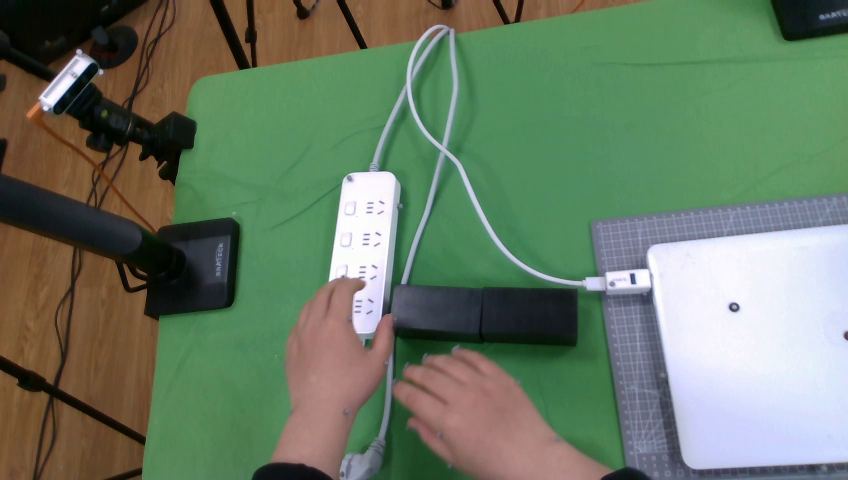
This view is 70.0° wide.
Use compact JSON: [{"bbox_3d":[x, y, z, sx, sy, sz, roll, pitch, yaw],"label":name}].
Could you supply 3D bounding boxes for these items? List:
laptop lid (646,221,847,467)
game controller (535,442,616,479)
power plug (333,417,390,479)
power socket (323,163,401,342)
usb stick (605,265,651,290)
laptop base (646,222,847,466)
[{"bbox_3d":[0.418,0.093,0.595,0.356,0.013,0.240,-4,71,10],"label":"laptop lid"},{"bbox_3d":[0.118,0.270,0.586,0.155,0.052,0.096,-41,64,-7],"label":"game controller"},{"bbox_3d":[-0.066,0.229,0.655,0.052,0.035,0.072,-12,20,34],"label":"power plug"},{"bbox_3d":[-0.073,0.008,0.733,0.072,0.033,0.225,1,69,11],"label":"power socket"},{"bbox_3d":[0.227,0.041,0.654,0.059,0.027,0.021,-3,69,6],"label":"usb stick"},{"bbox_3d":[0.420,0.095,0.607,0.354,0.023,0.234,-6,72,9],"label":"laptop base"}]
